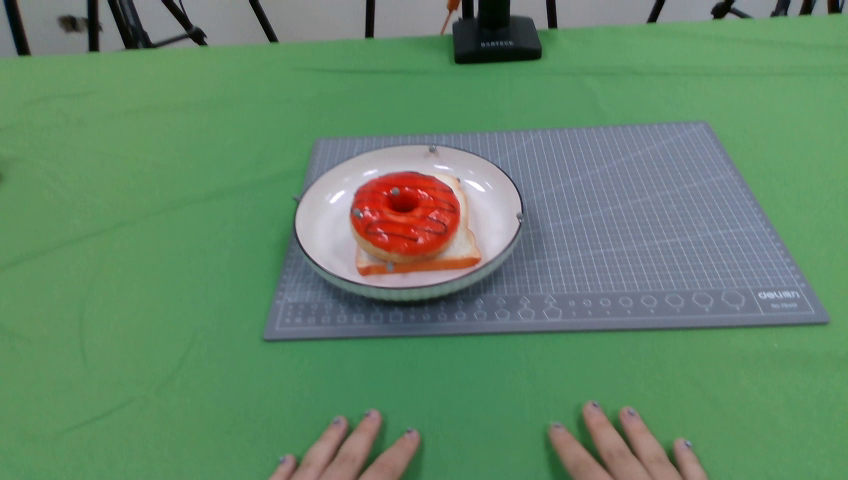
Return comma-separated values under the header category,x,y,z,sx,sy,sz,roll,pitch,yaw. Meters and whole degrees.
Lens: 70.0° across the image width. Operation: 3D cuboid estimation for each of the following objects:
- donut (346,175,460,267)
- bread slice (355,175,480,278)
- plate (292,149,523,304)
category,x,y,z,sx,sy,sz,roll,pitch,yaw
donut,-0.018,-0.017,0.522,0.099,0.048,0.098,0,45,0
bread slice,-0.012,-0.016,0.563,0.107,0.018,0.133,-5,42,-4
plate,-0.014,-0.013,0.559,0.209,0.038,0.207,-2,41,2
